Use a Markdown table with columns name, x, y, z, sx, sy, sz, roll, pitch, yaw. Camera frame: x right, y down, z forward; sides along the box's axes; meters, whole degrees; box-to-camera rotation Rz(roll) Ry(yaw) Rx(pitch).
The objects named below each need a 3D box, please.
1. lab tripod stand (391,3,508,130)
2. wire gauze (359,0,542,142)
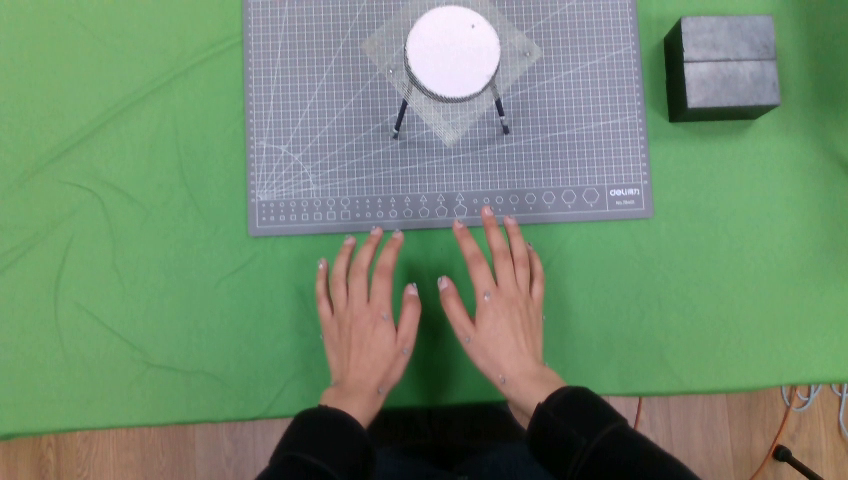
| name | x | y | z | sx | sy | sz | roll | pitch | yaw |
| --- | --- | --- | --- | --- | --- | --- | --- | --- | --- |
| lab tripod stand | 0.029 | -0.168 | 0.619 | 0.148 | 0.131 | 0.148 | 0 | 84 | -2 |
| wire gauze | 0.024 | -0.174 | 0.552 | 0.121 | 0.011 | 0.125 | -42 | 87 | -4 |
